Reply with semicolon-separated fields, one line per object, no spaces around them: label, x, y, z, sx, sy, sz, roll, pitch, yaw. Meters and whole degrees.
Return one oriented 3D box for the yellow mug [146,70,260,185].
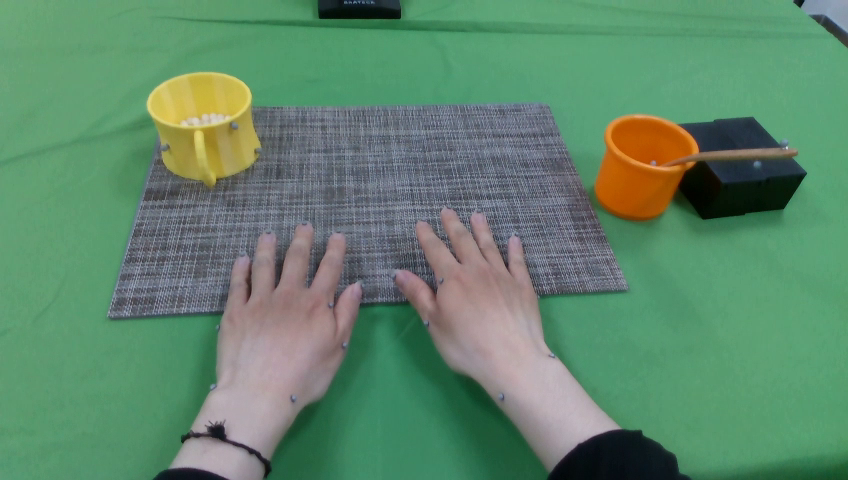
yellow mug;-0.222;-0.110;0.615;0.100;0.064;0.129;-8;48;-12

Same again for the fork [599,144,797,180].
fork;0.246;-0.074;0.571;0.028;0.019;0.206;-27;10;-26
